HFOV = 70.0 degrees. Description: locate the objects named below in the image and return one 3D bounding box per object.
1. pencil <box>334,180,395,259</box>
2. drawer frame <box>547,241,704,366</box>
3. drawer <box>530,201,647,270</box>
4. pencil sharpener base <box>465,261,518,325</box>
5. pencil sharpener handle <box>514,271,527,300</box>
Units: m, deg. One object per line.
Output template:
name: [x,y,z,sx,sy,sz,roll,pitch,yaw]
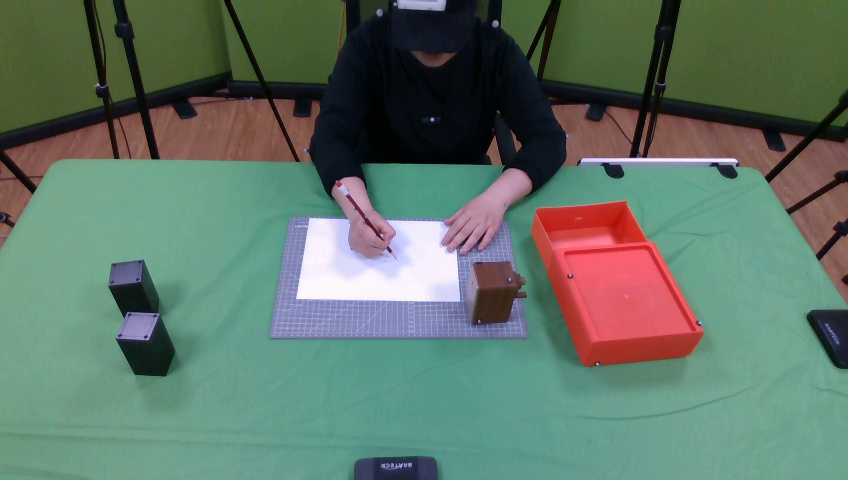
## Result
pencil: [-0.107,-0.034,1.121,0.012,0.195,0.012,-27,28,16]
drawer frame: [0.348,0.106,1.077,0.202,0.083,0.212,-4,47,-9]
drawer: [0.329,0.025,1.159,0.195,0.073,0.210,-5,46,-9]
pencil sharpener base: [0.117,0.093,1.053,0.077,0.107,0.061,-3,46,-7]
pencil sharpener handle: [0.169,0.081,1.051,0.031,0.068,0.035,-3,48,-7]
